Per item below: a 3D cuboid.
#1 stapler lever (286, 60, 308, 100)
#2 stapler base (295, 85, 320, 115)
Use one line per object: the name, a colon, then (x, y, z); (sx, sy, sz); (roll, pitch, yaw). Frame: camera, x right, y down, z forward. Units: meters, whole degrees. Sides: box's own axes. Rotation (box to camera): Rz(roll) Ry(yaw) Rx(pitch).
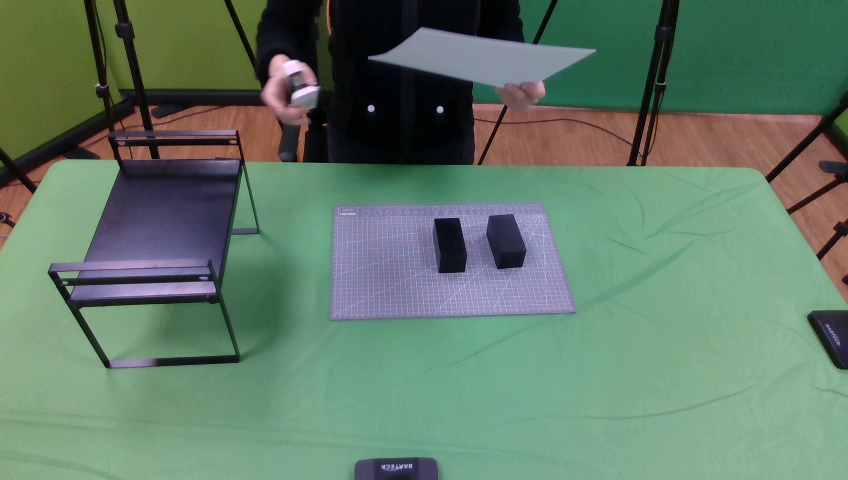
stapler lever: (-0.203, -0.254, 0.977); (0.027, 0.118, 0.040); (-23, 93, -11)
stapler base: (-0.192, -0.232, 0.977); (0.041, 0.130, 0.024); (-23, 93, -11)
